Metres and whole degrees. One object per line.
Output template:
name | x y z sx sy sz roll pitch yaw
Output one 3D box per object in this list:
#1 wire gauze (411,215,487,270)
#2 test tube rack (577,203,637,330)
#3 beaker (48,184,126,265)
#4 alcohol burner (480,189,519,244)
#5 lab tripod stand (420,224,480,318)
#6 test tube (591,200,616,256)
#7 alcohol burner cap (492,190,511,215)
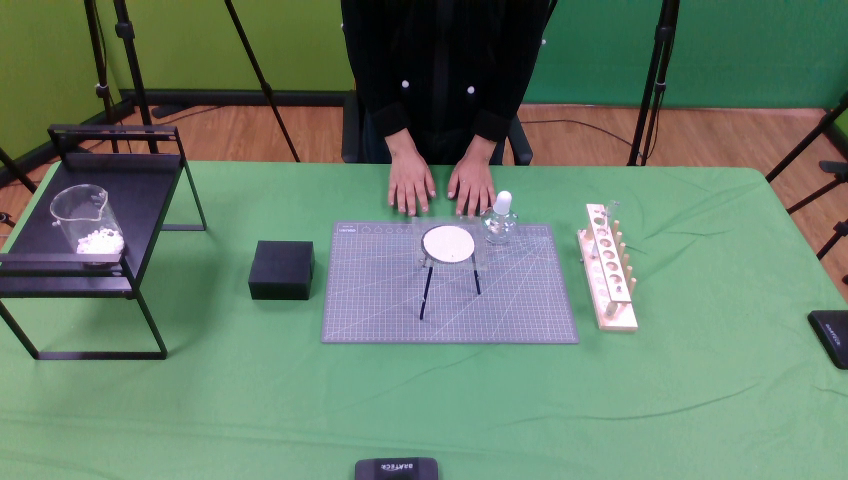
wire gauze | 0.041 0.002 1.026 0.125 0.011 0.120 1 46 -3
test tube rack | 0.348 0.045 1.139 0.067 0.085 0.241 2 46 -2
beaker | -0.479 -0.018 0.875 0.083 0.101 0.074 30 52 22
alcohol burner | 0.150 -0.050 1.191 0.078 0.120 0.077 1 47 -1
lab tripod stand | 0.034 0.052 1.070 0.148 0.132 0.147 3 48 -3
test tube | 0.333 -0.019 1.130 0.017 0.151 0.017 0 51 0
alcohol burner cap | 0.151 -0.076 1.165 0.034 0.048 0.033 5 49 -6
